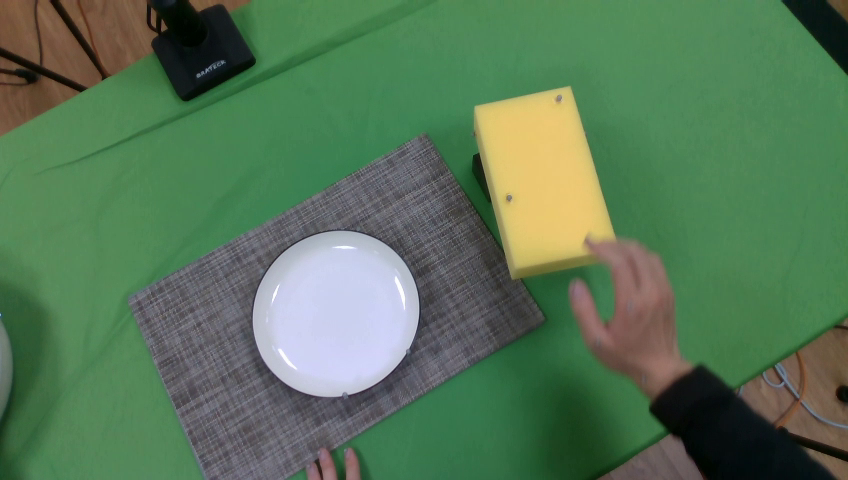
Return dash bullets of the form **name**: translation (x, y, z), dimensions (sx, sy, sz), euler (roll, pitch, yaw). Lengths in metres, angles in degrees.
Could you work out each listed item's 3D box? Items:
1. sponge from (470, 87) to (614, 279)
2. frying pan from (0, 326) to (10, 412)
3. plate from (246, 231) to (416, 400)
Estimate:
- **sponge**: translation (0.135, -0.068, 0.719), dimensions (0.118, 0.061, 0.205), euler (-13, 74, 0)
- **frying pan**: translation (-0.585, 0.251, 0.704), dimensions (0.307, 0.103, 0.484), euler (-38, 68, -6)
- **plate**: translation (-0.112, 0.092, 0.750), dimensions (0.207, 0.039, 0.206), euler (-1, 75, 3)
